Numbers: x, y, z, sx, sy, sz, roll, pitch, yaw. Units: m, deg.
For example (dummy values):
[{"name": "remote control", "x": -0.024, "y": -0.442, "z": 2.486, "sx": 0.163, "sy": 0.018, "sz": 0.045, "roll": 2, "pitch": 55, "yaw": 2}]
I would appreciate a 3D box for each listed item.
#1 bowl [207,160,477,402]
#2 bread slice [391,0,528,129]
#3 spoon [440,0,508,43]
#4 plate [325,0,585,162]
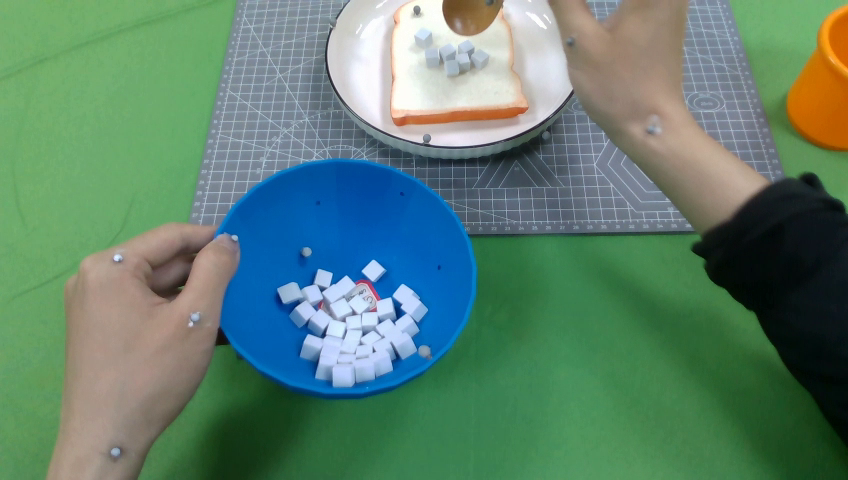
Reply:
[{"name": "bowl", "x": -0.048, "y": 0.034, "z": 0.372, "sx": 0.152, "sy": 0.077, "sz": 0.150, "roll": 5, "pitch": 59, "yaw": -8}, {"name": "bread slice", "x": 0.021, "y": -0.149, "z": 0.506, "sx": 0.107, "sy": 0.018, "sz": 0.133, "roll": -7, "pitch": 63, "yaw": -1}, {"name": "spoon", "x": 0.065, "y": -0.164, "z": 0.380, "sx": 0.021, "sy": 0.192, "sz": 0.042, "roll": -31, "pitch": 105, "yaw": -23}, {"name": "plate", "x": 0.024, "y": -0.146, "z": 0.501, "sx": 0.209, "sy": 0.038, "sz": 0.207, "roll": -1, "pitch": 62, "yaw": 3}]
